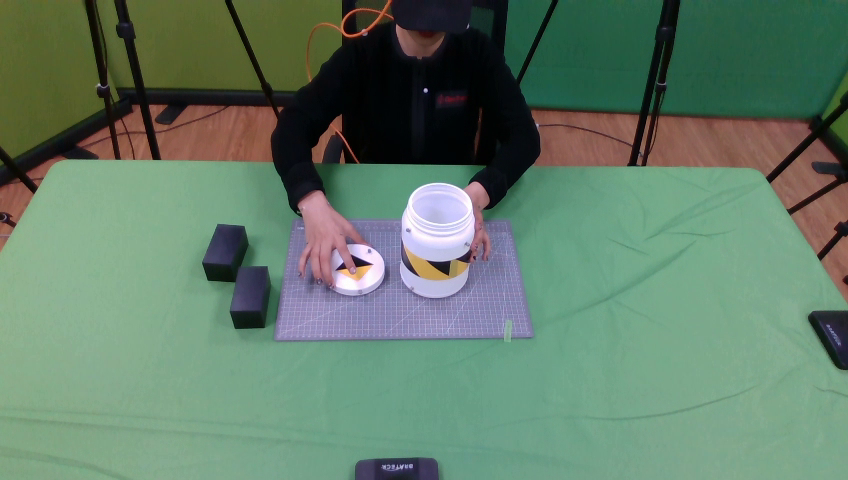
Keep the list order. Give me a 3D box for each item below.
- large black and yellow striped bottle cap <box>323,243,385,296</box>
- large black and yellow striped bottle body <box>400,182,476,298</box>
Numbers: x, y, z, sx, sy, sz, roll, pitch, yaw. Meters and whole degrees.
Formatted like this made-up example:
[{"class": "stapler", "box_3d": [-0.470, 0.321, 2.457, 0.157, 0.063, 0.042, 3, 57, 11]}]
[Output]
[{"class": "large black and yellow striped bottle cap", "box_3d": [-0.130, 0.053, 1.131, 0.115, 0.019, 0.114, 3, 49, -3]}, {"class": "large black and yellow striped bottle body", "box_3d": [0.023, 0.000, 1.082, 0.131, 0.185, 0.130, 2, 46, -2]}]
